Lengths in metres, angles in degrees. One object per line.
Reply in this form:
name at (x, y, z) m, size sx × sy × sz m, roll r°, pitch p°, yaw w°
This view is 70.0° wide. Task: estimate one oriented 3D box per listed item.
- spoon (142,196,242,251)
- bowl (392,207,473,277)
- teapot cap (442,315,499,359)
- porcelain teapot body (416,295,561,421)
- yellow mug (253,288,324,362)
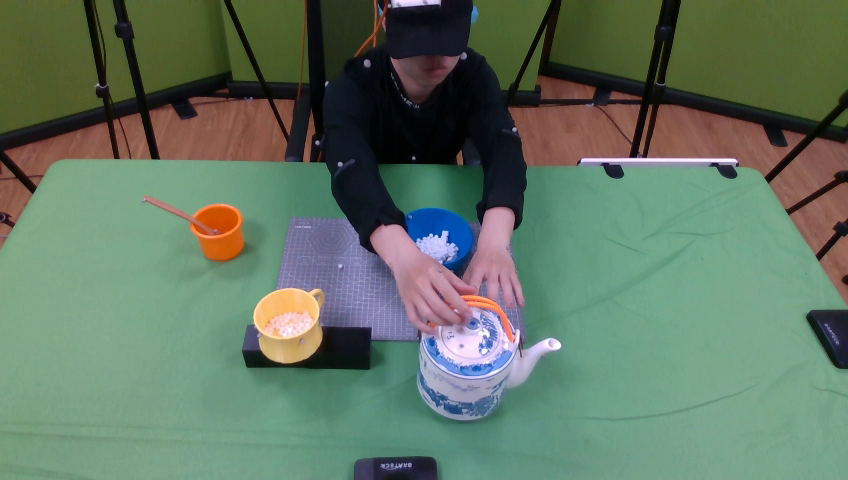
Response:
spoon at (-0.421, -0.032, 1.108) m, size 0.021 × 0.195 × 0.041 m, roll -32°, pitch 40°, yaw 28°
bowl at (0.015, 0.017, 1.140) m, size 0.151 × 0.077 × 0.150 m, roll 2°, pitch 46°, yaw -2°
teapot cap at (0.068, 0.133, 0.880) m, size 0.085 × 0.044 × 0.084 m, roll 5°, pitch 45°, yaw -4°
porcelain teapot body at (0.094, 0.164, 0.907) m, size 0.205 × 0.226 × 0.144 m, roll 6°, pitch 45°, yaw 1°
yellow mug at (-0.205, 0.124, 0.963) m, size 0.099 × 0.064 × 0.130 m, roll 27°, pitch 48°, yaw 21°
